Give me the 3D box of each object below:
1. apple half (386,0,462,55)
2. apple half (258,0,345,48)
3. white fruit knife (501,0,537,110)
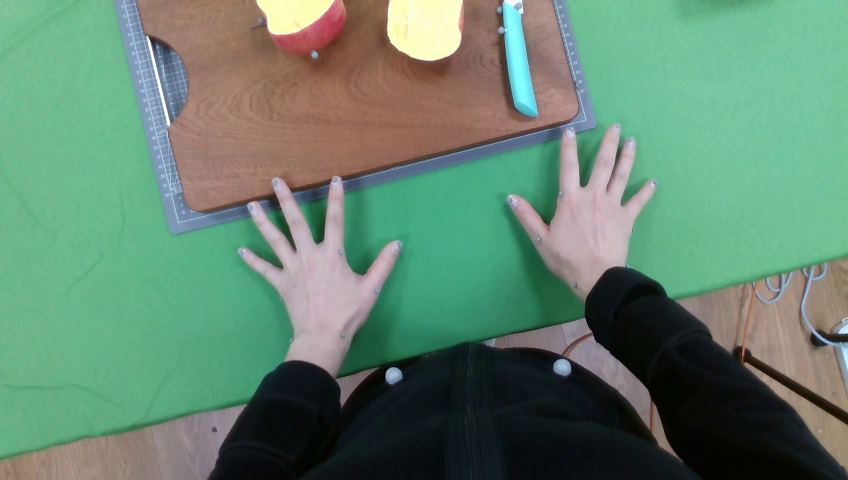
[{"bbox_3d":[0.002,-0.218,0.585,0.081,0.033,0.081,2,100,11],"label":"apple half"},{"bbox_3d":[-0.112,-0.217,0.570,0.074,0.054,0.080,-32,66,1],"label":"apple half"},{"bbox_3d":[0.086,-0.230,0.596,0.027,0.016,0.207,-6,88,-30],"label":"white fruit knife"}]
